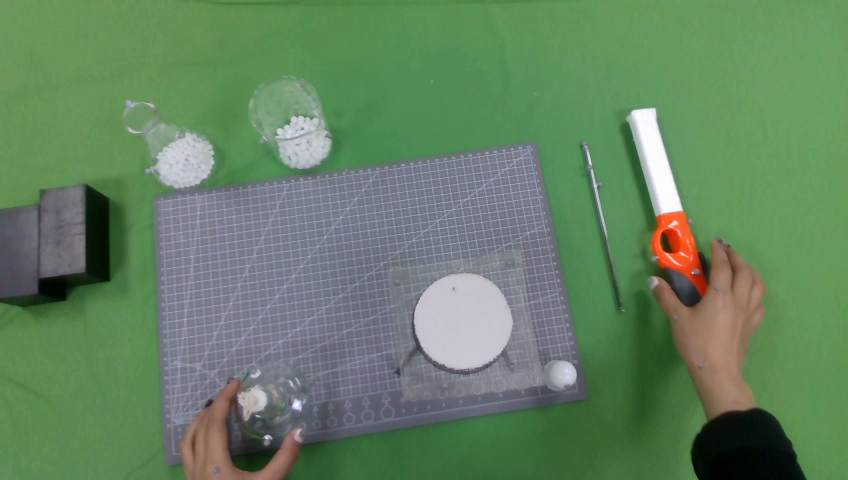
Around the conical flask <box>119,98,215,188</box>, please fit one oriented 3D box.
[{"bbox_3d":[-0.282,-0.109,0.656,0.075,0.122,0.075,0,76,0],"label":"conical flask"}]

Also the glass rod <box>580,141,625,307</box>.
[{"bbox_3d":[0.202,-0.021,0.690,0.008,0.008,0.198,-9,76,-2],"label":"glass rod"}]

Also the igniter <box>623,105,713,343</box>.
[{"bbox_3d":[0.273,-0.023,0.681,0.057,0.025,0.275,-7,77,-13],"label":"igniter"}]

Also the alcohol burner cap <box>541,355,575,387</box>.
[{"bbox_3d":[0.143,0.136,0.634,0.034,0.048,0.033,0,76,1],"label":"alcohol burner cap"}]

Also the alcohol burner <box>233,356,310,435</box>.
[{"bbox_3d":[-0.154,0.153,0.595,0.078,0.119,0.077,0,78,0],"label":"alcohol burner"}]

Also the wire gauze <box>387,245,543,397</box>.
[{"bbox_3d":[0.034,0.071,0.534,0.125,0.011,0.121,-7,78,0],"label":"wire gauze"}]

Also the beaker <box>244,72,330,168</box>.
[{"bbox_3d":[-0.144,-0.127,0.672,0.084,0.100,0.074,27,78,6],"label":"beaker"}]

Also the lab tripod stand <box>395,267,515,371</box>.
[{"bbox_3d":[0.031,0.089,0.599,0.148,0.132,0.147,0,78,1],"label":"lab tripod stand"}]
